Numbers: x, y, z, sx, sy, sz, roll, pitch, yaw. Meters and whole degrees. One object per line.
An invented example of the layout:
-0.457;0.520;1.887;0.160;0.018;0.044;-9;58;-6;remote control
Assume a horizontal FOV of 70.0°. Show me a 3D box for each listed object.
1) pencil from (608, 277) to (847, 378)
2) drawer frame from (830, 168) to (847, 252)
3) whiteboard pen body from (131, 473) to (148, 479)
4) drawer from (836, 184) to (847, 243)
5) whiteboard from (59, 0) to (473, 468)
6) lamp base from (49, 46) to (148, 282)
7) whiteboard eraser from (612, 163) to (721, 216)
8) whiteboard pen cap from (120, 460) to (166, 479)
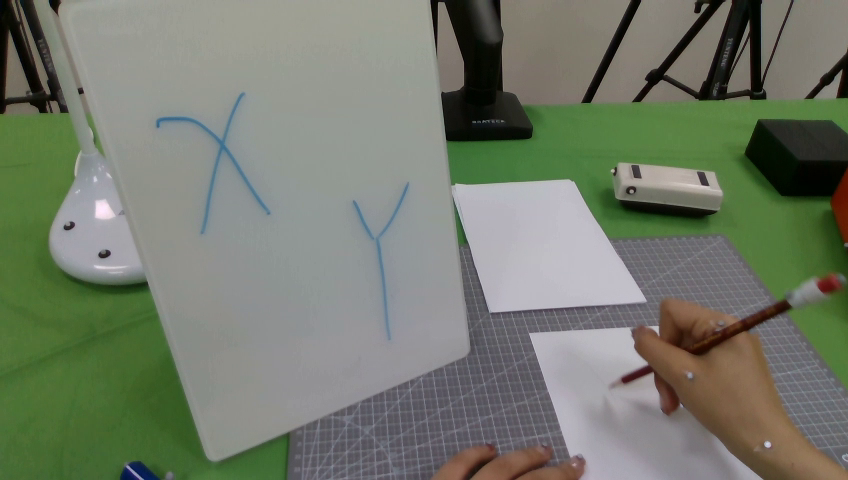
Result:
0.189;0.067;0.410;0.012;0.194;0.012;13;58;-22;pencil
0.534;0.014;0.588;0.201;0.083;0.212;12;39;12;drawer frame
-0.138;0.184;0.378;0.140;0.017;0.017;24;43;24;whiteboard pen body
0.533;0.017;0.586;0.194;0.074;0.210;13;39;13;drawer
-0.103;-0.030;0.464;0.218;0.307;0.142;-17;24;-23;whiteboard
-0.292;-0.078;0.564;0.178;0.182;0.160;23;43;27;lamp base
0.274;-0.057;0.691;0.112;0.042;0.055;8;40;5;whiteboard eraser
-0.185;0.161;0.403;0.033;0.018;0.018;23;43;26;whiteboard pen cap
